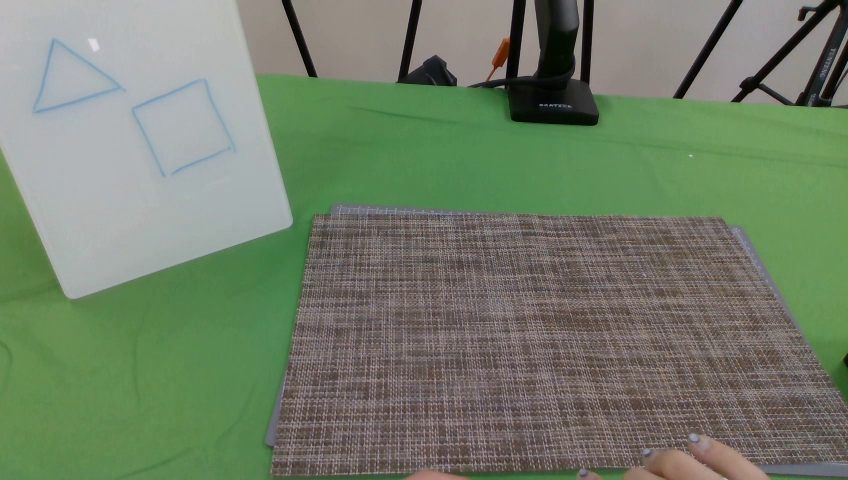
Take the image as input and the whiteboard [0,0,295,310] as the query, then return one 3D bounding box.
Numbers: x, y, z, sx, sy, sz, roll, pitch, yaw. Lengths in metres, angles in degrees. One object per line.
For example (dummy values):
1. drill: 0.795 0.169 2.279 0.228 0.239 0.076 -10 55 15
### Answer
1. whiteboard: -0.282 -0.128 0.580 0.218 0.307 0.142 -21 26 -26
